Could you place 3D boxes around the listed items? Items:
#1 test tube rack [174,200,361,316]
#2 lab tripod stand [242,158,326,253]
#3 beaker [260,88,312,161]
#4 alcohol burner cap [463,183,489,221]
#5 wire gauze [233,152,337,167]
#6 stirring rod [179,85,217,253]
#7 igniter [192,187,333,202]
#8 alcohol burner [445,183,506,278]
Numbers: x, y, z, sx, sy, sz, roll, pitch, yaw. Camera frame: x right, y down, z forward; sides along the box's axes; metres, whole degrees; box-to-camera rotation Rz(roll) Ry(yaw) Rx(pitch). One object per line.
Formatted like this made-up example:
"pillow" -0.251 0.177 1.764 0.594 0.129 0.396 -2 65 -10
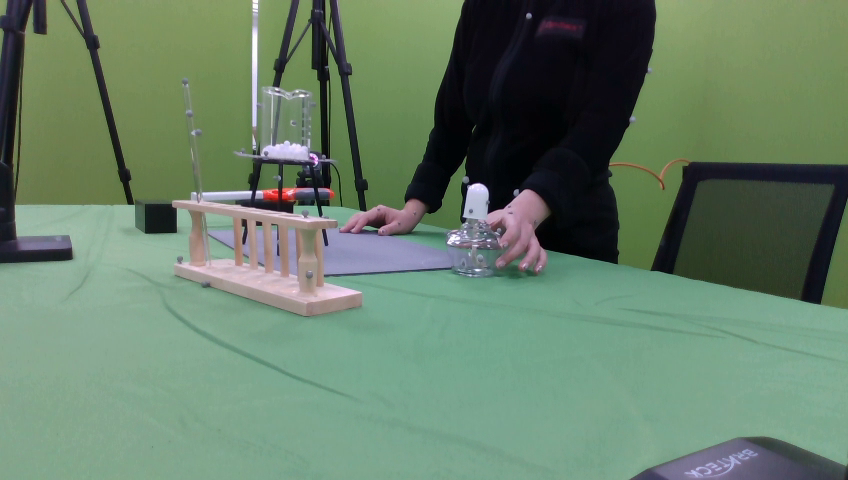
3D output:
"test tube rack" -0.169 0.009 0.622 0.241 0.085 0.067 9 9 41
"lab tripod stand" -0.207 -0.054 0.895 0.148 0.131 0.148 3 5 0
"beaker" -0.200 -0.166 0.876 0.074 0.100 0.083 1 7 -18
"alcohol burner cap" 0.067 -0.048 0.765 0.034 0.048 0.034 5 5 0
"wire gauze" -0.205 -0.119 0.887 0.122 0.011 0.124 2 4 -32
"stirring rod" -0.236 -0.073 0.634 0.006 0.176 0.014 0 10 42
"igniter" -0.316 -0.090 1.214 0.278 0.025 0.057 -5 12 -31
"alcohol burner" 0.066 -0.013 0.770 0.078 0.119 0.078 0 7 0
